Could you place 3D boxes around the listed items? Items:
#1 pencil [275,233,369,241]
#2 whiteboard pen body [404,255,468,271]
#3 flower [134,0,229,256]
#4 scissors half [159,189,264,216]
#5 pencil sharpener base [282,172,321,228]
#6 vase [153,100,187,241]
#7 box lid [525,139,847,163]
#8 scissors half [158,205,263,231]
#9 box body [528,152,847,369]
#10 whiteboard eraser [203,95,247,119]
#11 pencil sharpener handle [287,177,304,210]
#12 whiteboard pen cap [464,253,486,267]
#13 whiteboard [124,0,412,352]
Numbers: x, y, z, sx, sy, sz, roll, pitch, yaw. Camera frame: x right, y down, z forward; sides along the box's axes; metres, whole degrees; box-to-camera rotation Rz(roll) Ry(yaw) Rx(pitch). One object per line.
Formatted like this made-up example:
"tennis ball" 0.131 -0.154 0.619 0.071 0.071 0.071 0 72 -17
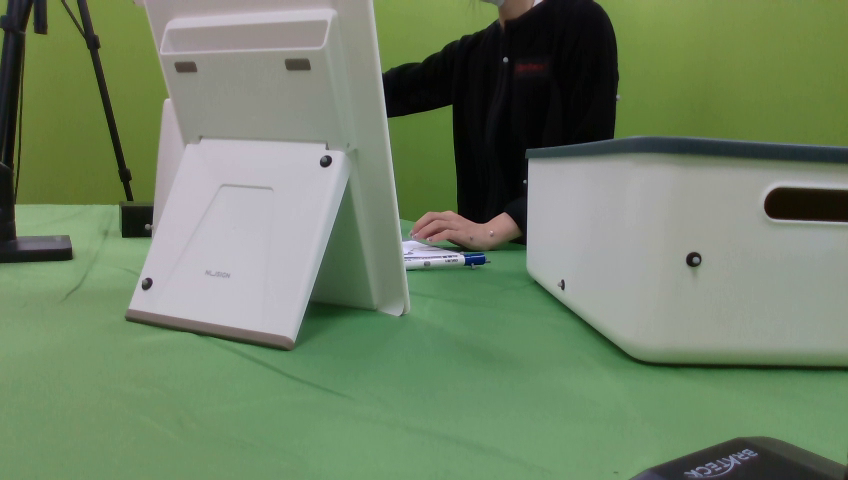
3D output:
"pencil" -0.169 -0.006 1.036 0.195 0.012 0.012 -2 9 -45
"whiteboard pen body" 0.013 0.030 0.792 0.141 0.017 0.017 -3 9 -24
"flower" -0.282 -0.146 0.713 0.038 0.362 0.044 -23 23 -31
"scissors half" -0.370 -0.062 1.059 0.176 0.040 0.013 -11 8 -26
"pencil sharpener base" -0.247 -0.080 1.212 0.061 0.107 0.076 -2 5 -27
"vase" -0.278 -0.066 0.736 0.098 0.200 0.098 2 9 0
"box lid" 0.261 -0.078 0.580 0.264 0.015 0.371 2 7 -4
"scissors half" -0.371 -0.042 1.062 0.176 0.040 0.012 8 5 -28
"box body" 0.258 -0.005 0.591 0.254 0.160 0.363 2 7 -4
"whiteboard eraser" -0.431 -0.288 1.315 0.055 0.042 0.112 20 8 1
"pencil sharpener handle" -0.269 -0.096 1.257 0.036 0.067 0.030 -8 8 -27
"whiteboard pen cap" 0.066 0.027 0.818 0.033 0.018 0.018 -5 10 -24
"whiteboard" -0.151 -0.049 0.472 0.216 0.305 0.144 6 27 24
